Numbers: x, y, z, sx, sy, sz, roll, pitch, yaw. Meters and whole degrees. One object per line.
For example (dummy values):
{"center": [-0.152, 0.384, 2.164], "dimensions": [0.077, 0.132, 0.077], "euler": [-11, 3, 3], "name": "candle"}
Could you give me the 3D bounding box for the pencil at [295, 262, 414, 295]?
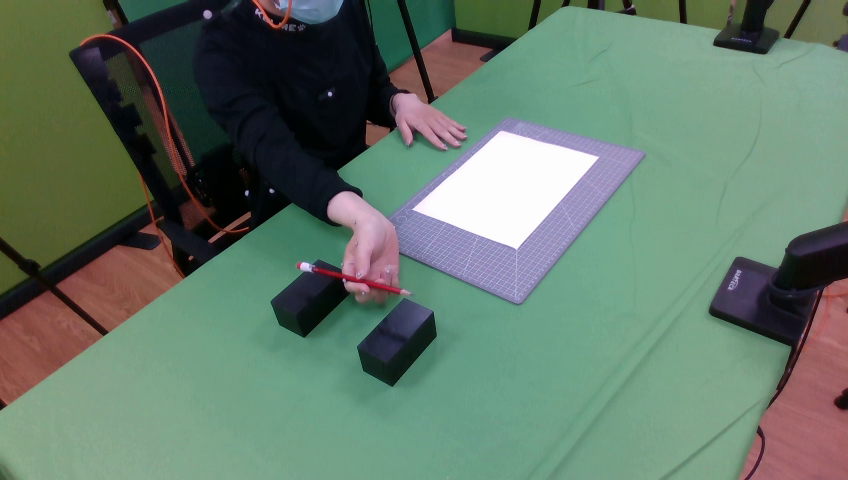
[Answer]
{"center": [-0.096, 0.052, 0.808], "dimensions": [0.193, 0.012, 0.012], "euler": [12, 44, 27], "name": "pencil"}
